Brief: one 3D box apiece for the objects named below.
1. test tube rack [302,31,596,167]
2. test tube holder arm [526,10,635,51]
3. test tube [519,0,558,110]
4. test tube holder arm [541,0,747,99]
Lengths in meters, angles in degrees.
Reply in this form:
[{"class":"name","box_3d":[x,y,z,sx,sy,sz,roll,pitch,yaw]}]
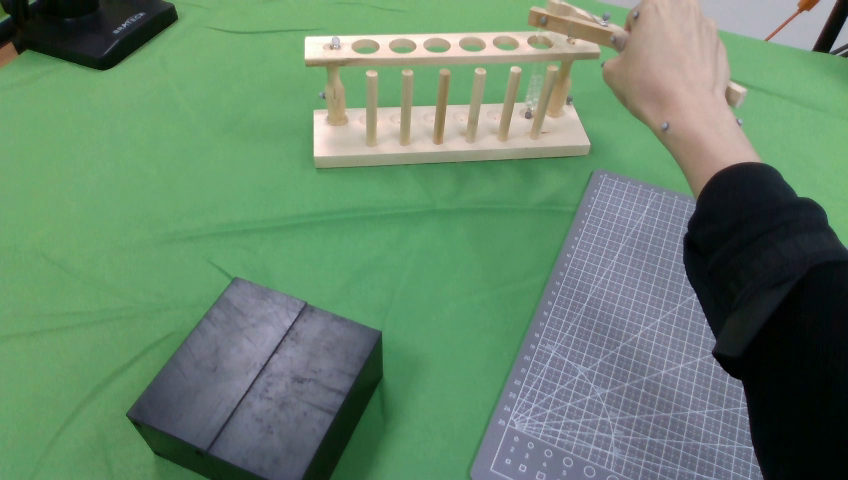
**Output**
[{"class":"test tube rack","box_3d":[0.023,-0.122,0.521,0.243,0.086,0.066,-4,49,-7]},{"class":"test tube holder arm","box_3d":[0.122,-0.165,0.476,0.087,0.015,0.010,21,51,21]},{"class":"test tube","box_3d":[0.098,-0.173,0.504,0.017,0.151,0.017,2,47,-2]},{"class":"test tube holder arm","box_3d":[0.159,-0.148,0.458,0.013,0.015,0.176,-36,54,-26]}]
